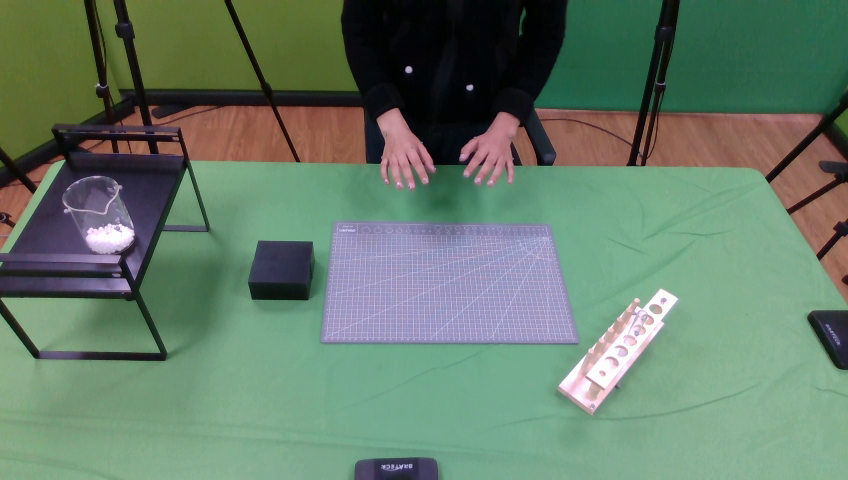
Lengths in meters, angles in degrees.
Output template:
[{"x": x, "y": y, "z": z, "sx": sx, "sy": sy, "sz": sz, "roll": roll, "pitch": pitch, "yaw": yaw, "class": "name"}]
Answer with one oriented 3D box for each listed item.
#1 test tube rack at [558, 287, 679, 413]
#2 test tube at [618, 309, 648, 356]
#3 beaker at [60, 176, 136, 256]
[{"x": 0.326, "y": 0.170, "z": 1.009, "sx": 0.066, "sy": 0.085, "sz": 0.242, "roll": 35, "pitch": 54, "yaw": 26, "class": "test tube rack"}, {"x": 0.327, "y": 0.154, "z": 0.955, "sx": 0.017, "sy": 0.151, "sz": 0.017, "roll": -1, "pitch": 51, "yaw": 1, "class": "test tube"}, {"x": -0.470, "y": -0.031, "z": 0.888, "sx": 0.074, "sy": 0.101, "sz": 0.083, "roll": -31, "pitch": 56, "yaw": -28, "class": "beaker"}]
